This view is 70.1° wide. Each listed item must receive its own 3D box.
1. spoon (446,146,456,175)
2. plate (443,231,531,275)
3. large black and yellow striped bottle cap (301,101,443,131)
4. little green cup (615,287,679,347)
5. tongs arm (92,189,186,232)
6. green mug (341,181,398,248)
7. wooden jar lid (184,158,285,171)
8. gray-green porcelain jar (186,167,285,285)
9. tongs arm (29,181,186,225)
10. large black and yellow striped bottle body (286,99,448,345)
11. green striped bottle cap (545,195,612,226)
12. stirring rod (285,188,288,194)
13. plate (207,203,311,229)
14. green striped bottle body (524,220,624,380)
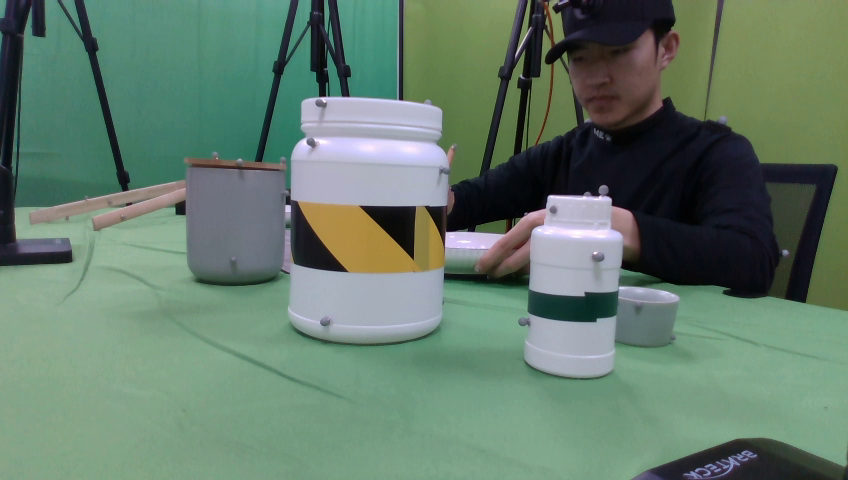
[{"bbox_3d":[0.012,-0.061,0.871,0.021,0.194,0.041,29,-28,-3],"label":"spoon"},{"bbox_3d":[0.053,0.016,0.812,0.209,0.038,0.209,0,7,0],"label":"plate"},{"bbox_3d":[-0.042,-0.100,0.491,0.115,0.019,0.115,1,8,0],"label":"large black and yellow striped bottle cap"},{"bbox_3d":[0.180,0.064,0.506,0.061,0.038,0.061,1,8,0],"label":"little green cup"},{"bbox_3d":[-0.534,-0.076,1.222,0.028,0.028,0.388,-2,15,12],"label":"tongs arm"},{"bbox_3d":[-0.089,-0.044,0.997,0.093,0.105,0.125,1,7,-8],"label":"green mug"},{"bbox_3d":[-0.210,-0.078,0.674,0.108,0.020,0.108,5,6,0],"label":"wooden jar lid"},{"bbox_3d":[-0.212,-0.017,0.682,0.106,0.126,0.106,2,7,0],"label":"gray-green porcelain jar"},{"bbox_3d":[-0.609,-0.083,1.245,0.050,0.026,0.386,5,16,23],"label":"tongs arm"},{"bbox_3d":[-0.047,-0.018,0.501,0.131,0.184,0.130,2,7,0],"label":"large black and yellow striped bottle body"},{"bbox_3d":[0.106,-0.020,0.414,0.044,0.020,0.044,2,3,0],"label":"green striped bottle cap"},{"bbox_3d":[-0.353,-0.122,1.518,0.006,0.014,0.176,1,7,1],"label":"stirring rod"},{"bbox_3d":[-0.342,-0.050,1.259,0.208,0.039,0.207,2,7,0],"label":"plate"},{"bbox_3d":[0.104,0.031,0.422,0.063,0.119,0.063,2,8,0],"label":"green striped bottle body"}]
